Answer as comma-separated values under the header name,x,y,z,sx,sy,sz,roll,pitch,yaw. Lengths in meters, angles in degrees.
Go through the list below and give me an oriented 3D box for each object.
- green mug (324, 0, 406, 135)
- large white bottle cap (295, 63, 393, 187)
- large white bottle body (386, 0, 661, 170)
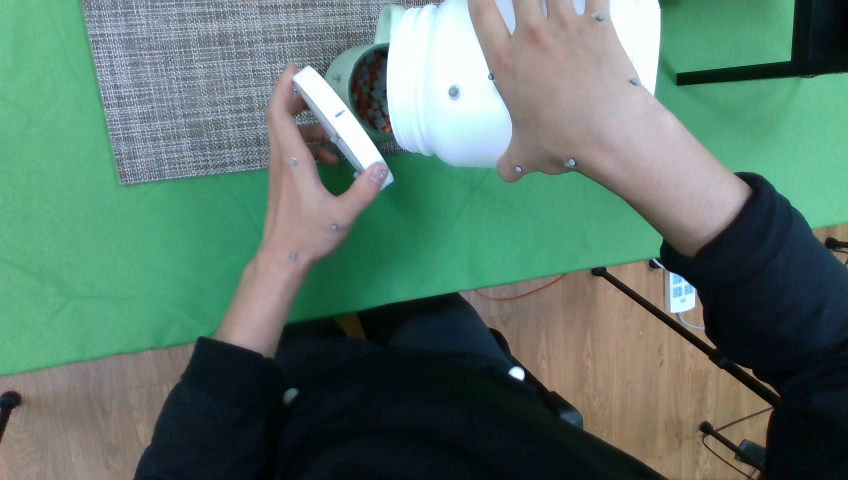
name,x,y,z,sx,sy,sz,roll,pitch,yaw
green mug,-0.041,-0.161,0.568,0.093,0.104,0.125,8,99,-20
large white bottle cap,-0.066,-0.094,0.506,0.018,0.114,0.115,-38,111,-4
large white bottle body,0.075,-0.122,0.461,0.184,0.130,0.131,5,102,15
